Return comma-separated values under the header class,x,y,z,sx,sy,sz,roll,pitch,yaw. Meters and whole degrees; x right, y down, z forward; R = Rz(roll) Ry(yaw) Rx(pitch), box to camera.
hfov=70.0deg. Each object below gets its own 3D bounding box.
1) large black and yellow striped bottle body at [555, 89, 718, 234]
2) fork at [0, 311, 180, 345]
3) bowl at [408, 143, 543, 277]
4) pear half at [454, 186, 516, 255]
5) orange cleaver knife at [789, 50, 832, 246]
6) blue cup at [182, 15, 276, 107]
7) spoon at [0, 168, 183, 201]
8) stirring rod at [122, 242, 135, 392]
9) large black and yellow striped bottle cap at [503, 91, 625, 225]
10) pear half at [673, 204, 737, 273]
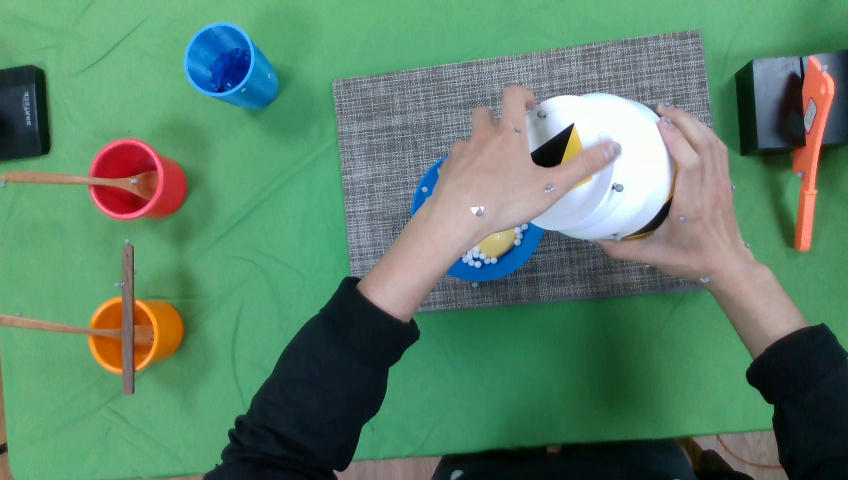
class,x,y,z,sx,sy,sz,roll,pitch,yaw
large black and yellow striped bottle body,0.180,-0.070,0.576,0.130,0.185,0.131,2,93,48
fork,-0.398,0.103,0.720,0.209,0.018,0.028,14,99,-37
bowl,0.062,-0.032,0.704,0.151,0.077,0.151,0,88,7
pear half,0.066,-0.026,0.697,0.070,0.031,0.087,-32,81,3
orange cleaver knife,0.419,-0.097,0.667,0.012,0.076,0.213,-4,116,12
blue cup,-0.227,-0.204,0.734,0.092,0.100,0.092,0,88,9
spoon,-0.394,-0.072,0.728,0.195,0.021,0.041,1,90,-37
stirring rod,-0.348,0.090,0.713,0.014,0.006,0.176,-1,89,4
large black and yellow striped bottle cap,0.116,-0.069,0.520,0.114,0.019,0.115,3,94,47
pear half,0.307,0.001,0.660,0.056,0.110,0.076,-26,81,6
